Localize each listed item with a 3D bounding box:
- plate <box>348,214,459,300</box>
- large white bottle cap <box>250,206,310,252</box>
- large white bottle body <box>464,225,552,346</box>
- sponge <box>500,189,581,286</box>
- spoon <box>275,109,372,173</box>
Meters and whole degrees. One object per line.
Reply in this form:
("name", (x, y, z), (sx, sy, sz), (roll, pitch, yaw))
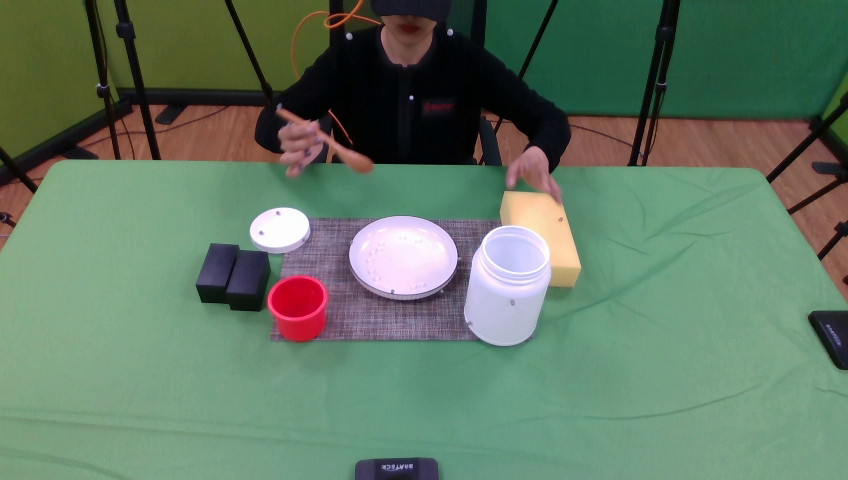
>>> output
("plate", (-0.040, 0.034, 1.146), (0.209, 0.038, 0.208), (2, 47, -2))
("large white bottle cap", (-0.284, -0.023, 1.197), (0.115, 0.018, 0.114), (1, 46, 0))
("large white bottle body", (0.141, 0.076, 1.017), (0.131, 0.185, 0.130), (2, 46, -2))
("sponge", (0.224, -0.007, 1.192), (0.118, 0.061, 0.205), (1, 47, -6))
("spoon", (-0.168, -0.165, 1.003), (0.193, 0.042, 0.021), (35, 61, 10))
